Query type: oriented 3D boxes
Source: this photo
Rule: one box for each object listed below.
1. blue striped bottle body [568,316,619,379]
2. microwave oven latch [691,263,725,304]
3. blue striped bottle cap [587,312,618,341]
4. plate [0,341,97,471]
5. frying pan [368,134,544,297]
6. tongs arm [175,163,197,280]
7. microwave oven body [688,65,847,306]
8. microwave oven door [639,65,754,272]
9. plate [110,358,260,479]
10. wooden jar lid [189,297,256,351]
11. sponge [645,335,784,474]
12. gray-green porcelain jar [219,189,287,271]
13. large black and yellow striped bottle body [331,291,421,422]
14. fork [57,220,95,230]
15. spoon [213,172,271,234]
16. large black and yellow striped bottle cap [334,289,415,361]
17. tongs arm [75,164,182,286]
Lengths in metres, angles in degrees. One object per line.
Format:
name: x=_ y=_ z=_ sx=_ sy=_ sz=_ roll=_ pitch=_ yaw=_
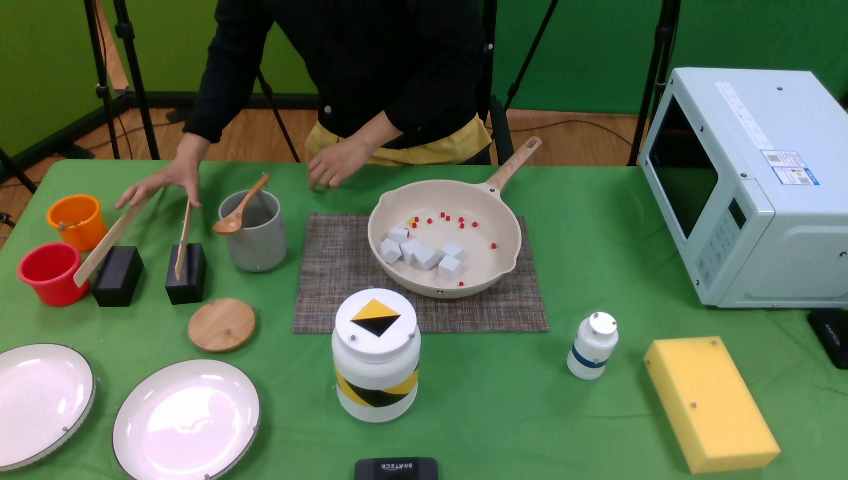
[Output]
blue striped bottle body: x=0.276 y=0.168 z=0.984 sx=0.063 sy=0.121 sz=0.062 roll=2 pitch=46 yaw=-2
microwave oven latch: x=0.521 y=0.081 z=1.116 sx=0.030 sy=0.029 sz=0.078 roll=0 pitch=46 yaw=-3
blue striped bottle cap: x=0.279 y=0.134 z=0.947 sx=0.044 sy=0.021 sz=0.044 roll=2 pitch=45 yaw=-2
plate: x=-0.599 y=0.247 z=0.904 sx=0.209 sy=0.038 sz=0.208 roll=2 pitch=47 yaw=-2
frying pan: x=0.104 y=-0.069 z=1.205 sx=0.305 sy=0.103 sz=0.487 roll=32 pitch=61 yaw=23
tongs arm: x=-0.463 y=-0.049 z=1.149 sx=0.051 sy=0.026 sz=0.382 roll=-8 pitch=36 yaw=-7
microwave oven body: x=0.669 y=-0.111 z=1.176 sx=0.326 sy=0.261 sz=0.439 roll=0 pitch=46 yaw=-3
microwave oven door: x=0.522 y=-0.147 z=1.193 sx=0.039 sy=0.245 sz=0.353 roll=0 pitch=47 yaw=-3
plate: x=-0.349 y=0.273 z=0.899 sx=0.208 sy=0.039 sz=0.206 roll=2 pitch=46 yaw=-2
wooden jar lid: x=-0.342 y=0.145 z=1.033 sx=0.108 sy=0.021 sz=0.107 roll=2 pitch=45 yaw=-2
sponge: x=0.449 y=0.253 z=0.956 sx=0.118 sy=0.061 sz=0.205 roll=-4 pitch=46 yaw=-7
gray-green porcelain jar: x=-0.309 y=-0.014 z=1.113 sx=0.106 sy=0.127 sz=0.105 roll=2 pitch=46 yaw=-2
large black and yellow striped bottle body: x=-0.071 y=0.175 z=0.911 sx=0.131 sy=0.185 sz=0.130 roll=2 pitch=47 yaw=-2
fork: x=-0.624 y=-0.027 z=1.086 sx=0.028 sy=0.207 sz=0.018 roll=-3 pitch=92 yaw=-17
spoon: x=-0.312 y=-0.069 z=1.069 sx=0.041 sy=0.022 sz=0.193 roll=10 pitch=43 yaw=10
large black and yellow striped bottle cap: x=-0.069 y=0.117 z=0.850 sx=0.115 sy=0.019 sz=0.114 roll=2 pitch=45 yaw=-2
tongs arm: x=-0.548 y=-0.044 z=1.142 sx=0.028 sy=0.028 sz=0.385 roll=-3 pitch=35 yaw=7
